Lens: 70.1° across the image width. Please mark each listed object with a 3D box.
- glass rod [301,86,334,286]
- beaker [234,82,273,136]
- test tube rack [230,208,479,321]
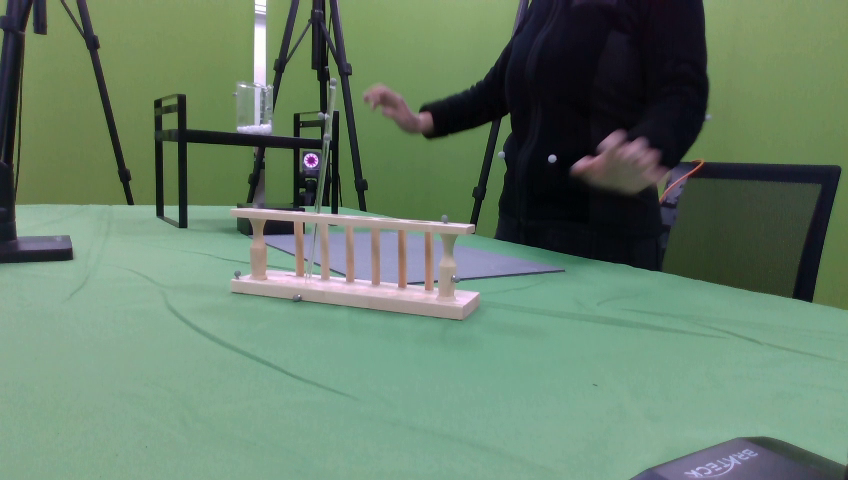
[{"bbox_3d":[-0.104,-0.049,0.587,0.008,0.199,0.008,9,7,-1],"label":"glass rod"},{"bbox_3d":[-0.338,-0.260,1.208,0.083,0.100,0.074,10,11,41],"label":"beaker"},{"bbox_3d":[-0.069,0.017,0.598,0.242,0.085,0.067,5,8,18],"label":"test tube rack"}]
